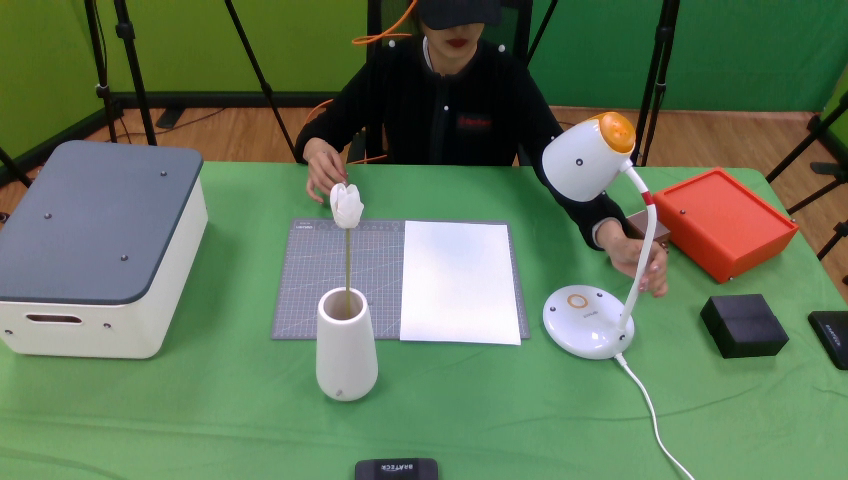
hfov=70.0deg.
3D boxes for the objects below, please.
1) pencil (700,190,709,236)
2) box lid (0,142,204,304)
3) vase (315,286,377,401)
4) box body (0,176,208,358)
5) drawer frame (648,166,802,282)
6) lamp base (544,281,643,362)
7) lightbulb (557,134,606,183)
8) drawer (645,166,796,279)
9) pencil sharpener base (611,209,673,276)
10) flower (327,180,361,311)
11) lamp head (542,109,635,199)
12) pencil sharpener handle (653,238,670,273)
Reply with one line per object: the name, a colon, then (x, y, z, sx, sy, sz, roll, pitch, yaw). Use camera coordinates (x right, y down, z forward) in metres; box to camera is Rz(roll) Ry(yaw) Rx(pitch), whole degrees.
pencil: (0.583, -0.058, 1.257, 0.012, 0.012, 0.193, 16, 35, 12)
box lid: (-0.534, -0.044, 0.995, 0.263, 0.015, 0.369, 3, 45, -3)
vase: (-0.119, 0.159, 0.911, 0.098, 0.201, 0.097, 2, 47, -2)
box body: (-0.546, 0.017, 1.045, 0.254, 0.161, 0.361, 2, 46, -2)
drawer frame: (0.603, -0.040, 1.233, 0.202, 0.083, 0.212, -21, 51, -23)
lamp base: (0.304, 0.095, 1.014, 0.161, 0.181, 0.178, -24, 54, -24)
lightbulb: (0.242, -0.127, 0.916, 0.059, 0.108, 0.059, 5, 67, -12)
drawer: (0.599, -0.040, 1.236, 0.195, 0.073, 0.210, -21, 52, -23)
pencil sharpener base: (0.416, 0.007, 1.158, 0.061, 0.107, 0.076, -21, 51, -22)
flower: (-0.110, 0.087, 0.867, 0.044, 0.363, 0.038, 22, 33, 35)
lamp head: (0.253, -0.131, 0.893, 0.113, 0.123, 0.112, 10, 66, -24)
pencil sharpener handle: (0.444, 0.030, 1.120, 0.036, 0.068, 0.030, -25, 52, -17)
